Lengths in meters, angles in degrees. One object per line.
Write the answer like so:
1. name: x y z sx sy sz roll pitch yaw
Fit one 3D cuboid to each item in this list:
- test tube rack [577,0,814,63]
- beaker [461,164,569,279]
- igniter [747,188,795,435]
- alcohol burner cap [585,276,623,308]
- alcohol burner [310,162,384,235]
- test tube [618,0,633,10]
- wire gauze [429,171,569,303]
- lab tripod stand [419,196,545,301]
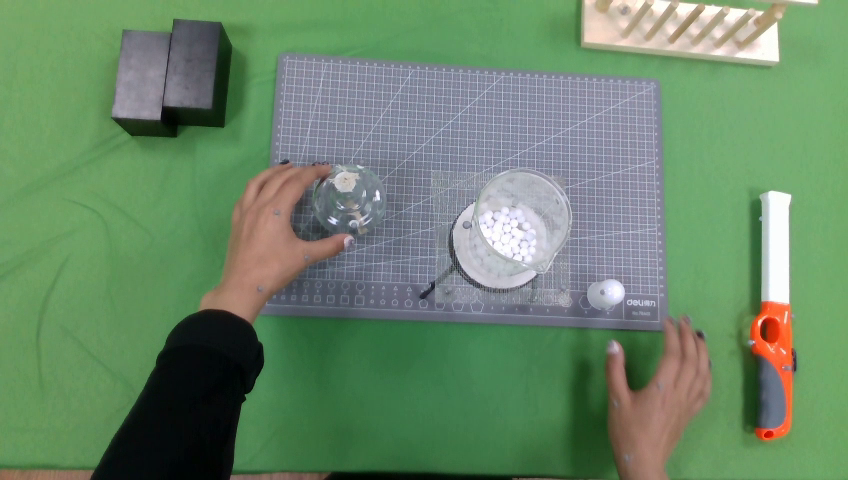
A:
1. test tube rack: 0.310 -0.266 0.705 0.242 0.085 0.066 4 79 -3
2. beaker: 0.070 -0.007 0.495 0.074 0.100 0.083 -20 80 -7
3. igniter: 0.388 0.077 0.677 0.057 0.025 0.275 9 79 -13
4. alcohol burner cap: 0.197 0.056 0.656 0.034 0.048 0.033 1 78 -3
5. alcohol burner: -0.079 -0.047 0.617 0.078 0.119 0.077 1 77 -4
6. test tube: 0.243 -0.300 0.655 0.017 0.151 0.017 1 75 -4
7. wire gauze: 0.067 -0.004 0.544 0.125 0.011 0.121 1 77 -2
8. lab tripod stand: 0.060 0.011 0.607 0.148 0.132 0.147 1 78 -2
